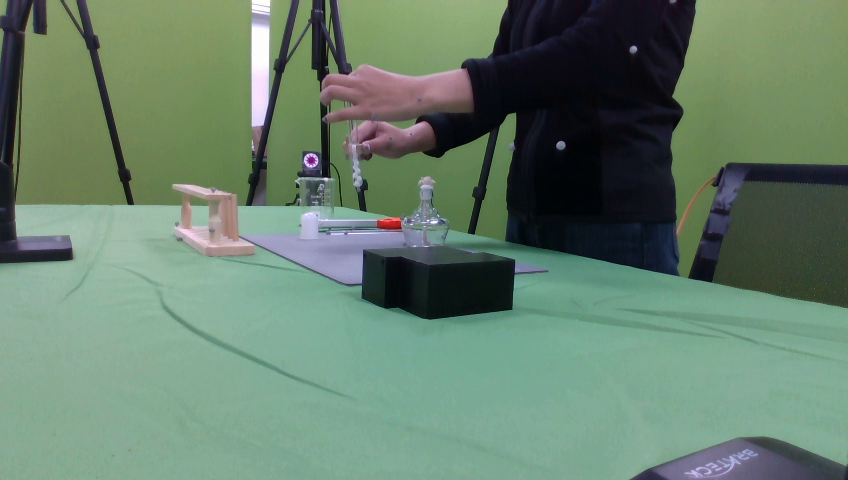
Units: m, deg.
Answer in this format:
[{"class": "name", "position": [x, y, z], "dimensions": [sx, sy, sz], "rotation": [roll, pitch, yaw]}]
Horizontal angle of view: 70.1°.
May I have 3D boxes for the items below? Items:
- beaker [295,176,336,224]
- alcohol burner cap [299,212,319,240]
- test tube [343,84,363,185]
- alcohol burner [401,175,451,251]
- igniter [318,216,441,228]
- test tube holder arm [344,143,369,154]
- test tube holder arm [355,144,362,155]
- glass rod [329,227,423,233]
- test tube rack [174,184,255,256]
[{"class": "beaker", "position": [-0.224, -0.080, 1.247], "dimensions": [0.084, 0.100, 0.073], "rotation": [-1, 8, -18]}, {"class": "alcohol burner cap", "position": [-0.195, -0.024, 1.025], "dimensions": [0.034, 0.048, 0.034], "rotation": [3, 7, 0]}, {"class": "test tube", "position": [-0.106, -0.156, 0.901], "dimensions": [0.017, 0.150, 0.017], "rotation": [-5, 4, 1]}, {"class": "alcohol burner", "position": [0.003, -0.042, 0.947], "dimensions": [0.078, 0.119, 0.078], "rotation": [1, 9, 0]}, {"class": "igniter", "position": [-0.090, -0.035, 1.222], "dimensions": [0.278, 0.025, 0.057], "rotation": [-2, -2, -31]}, {"class": "test tube holder arm", "position": [-0.106, -0.148, 0.969], "dimensions": [0.013, 0.015, 0.178], "rotation": [5, 10, 2]}, {"class": "test tube holder arm", "position": [-0.100, -0.139, 0.925], "dimensions": [0.010, 0.015, 0.087], "rotation": [3, 11, -7]}, {"class": "glass rod", "position": [-0.087, -0.019, 1.148], "dimensions": [0.201, 0.008, 0.008], "rotation": [-2, 8, -32]}, {"class": "test tube rack", "position": [-0.327, -0.036, 0.928], "dimensions": [0.067, 0.085, 0.241], "rotation": [-2, 9, -32]}]
